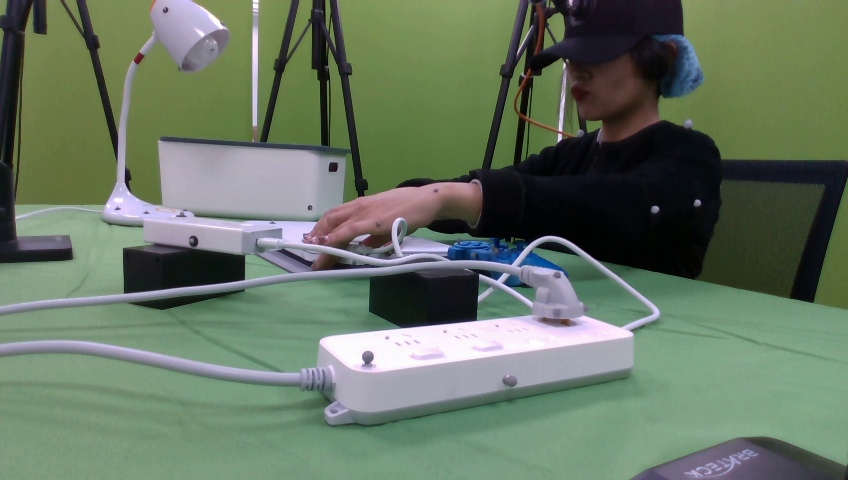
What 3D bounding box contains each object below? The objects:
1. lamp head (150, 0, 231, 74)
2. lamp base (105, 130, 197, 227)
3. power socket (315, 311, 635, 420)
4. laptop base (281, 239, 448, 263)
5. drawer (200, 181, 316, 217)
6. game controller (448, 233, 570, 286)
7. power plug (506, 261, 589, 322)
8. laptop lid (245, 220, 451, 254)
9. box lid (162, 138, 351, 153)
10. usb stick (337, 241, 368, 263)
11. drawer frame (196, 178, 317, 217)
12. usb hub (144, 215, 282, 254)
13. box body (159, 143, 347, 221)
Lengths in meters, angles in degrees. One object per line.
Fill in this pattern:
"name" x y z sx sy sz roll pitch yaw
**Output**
"lamp head" -0.432 -0.374 1.086 0.123 0.112 0.112 42 8 -2
"lamp base" -0.532 -0.120 1.153 0.179 0.180 0.161 1 7 8
"power socket" 0.039 0.072 0.385 0.228 0.032 0.072 -2 7 -29
"laptop base" -0.126 0.003 0.945 0.237 0.023 0.352 2 6 -31
"drawer" -0.372 -0.097 1.393 0.212 0.073 0.194 1 9 6
"game controller" 0.099 0.021 0.756 0.097 0.051 0.154 -7 11 -29
"power plug" 0.091 0.043 0.444 0.035 0.052 0.072 -1 5 -18
"laptop lid" -0.124 -0.009 0.945 0.243 0.013 0.355 1 7 -29
"box lid" -0.371 -0.215 1.394 0.371 0.015 0.263 4 8 7
"usb stick" -0.091 0.014 0.741 0.021 0.027 0.059 3 -4 -33
"drawer frame" -0.376 -0.101 1.393 0.213 0.082 0.202 1 8 6
"usb hub" -0.200 -0.006 0.573 0.125 0.025 0.050 6 7 23
"box body" -0.384 -0.137 1.406 0.364 0.160 0.254 3 8 7
